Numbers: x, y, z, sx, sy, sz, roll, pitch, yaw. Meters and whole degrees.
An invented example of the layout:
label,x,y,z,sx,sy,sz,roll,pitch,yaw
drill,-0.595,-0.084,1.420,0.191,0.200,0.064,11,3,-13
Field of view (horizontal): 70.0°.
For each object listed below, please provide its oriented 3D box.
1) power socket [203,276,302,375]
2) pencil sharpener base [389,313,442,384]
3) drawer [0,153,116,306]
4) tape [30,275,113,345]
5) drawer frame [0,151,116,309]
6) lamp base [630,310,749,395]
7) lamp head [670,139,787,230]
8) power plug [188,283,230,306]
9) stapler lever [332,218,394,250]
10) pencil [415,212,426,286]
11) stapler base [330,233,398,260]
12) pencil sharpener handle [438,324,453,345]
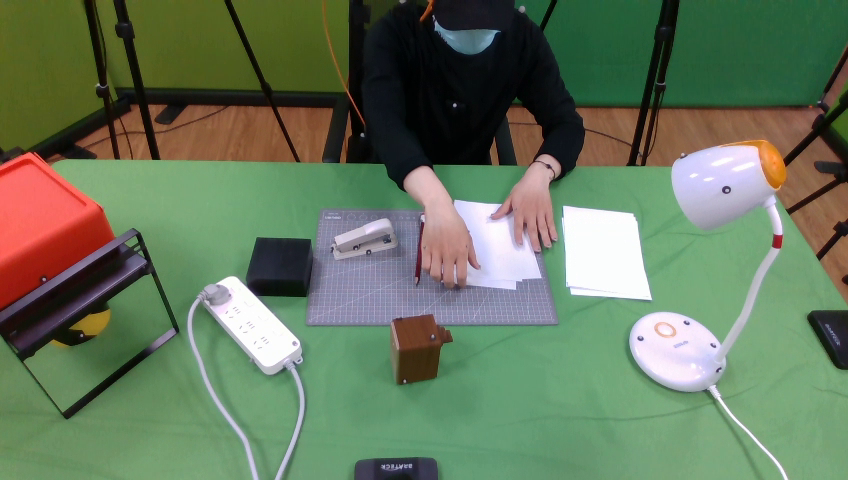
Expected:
label,x,y,z,sx,sy,sz,roll,pitch,yaw
power socket,-0.297,0.141,1.034,0.072,0.033,0.225,-34,58,-30
pencil sharpener base,-0.013,0.175,0.971,0.077,0.107,0.061,-8,47,-11
drawer,-0.601,-0.015,0.880,0.193,0.073,0.211,32,53,23
tape,-0.594,0.117,1.022,0.117,0.053,0.116,2,45,-2
drawer frame,-0.604,-0.013,0.876,0.201,0.083,0.213,31,52,23
lamp base,0.447,0.143,0.984,0.161,0.181,0.178,-24,55,-24
lamp head,0.415,-0.079,0.812,0.113,0.123,0.112,12,70,-37
power plug,-0.368,0.099,1.037,0.072,0.053,0.035,-24,52,-26
stapler lever,-0.116,-0.012,1.162,0.118,0.040,0.026,-13,47,-14
pencil,-0.007,0.014,1.190,0.012,0.012,0.193,5,48,1
stapler base,-0.116,0.004,1.181,0.131,0.024,0.041,-13,47,-15
pencil sharpener handle,0.036,0.155,0.976,0.031,0.068,0.036,-8,69,-11
